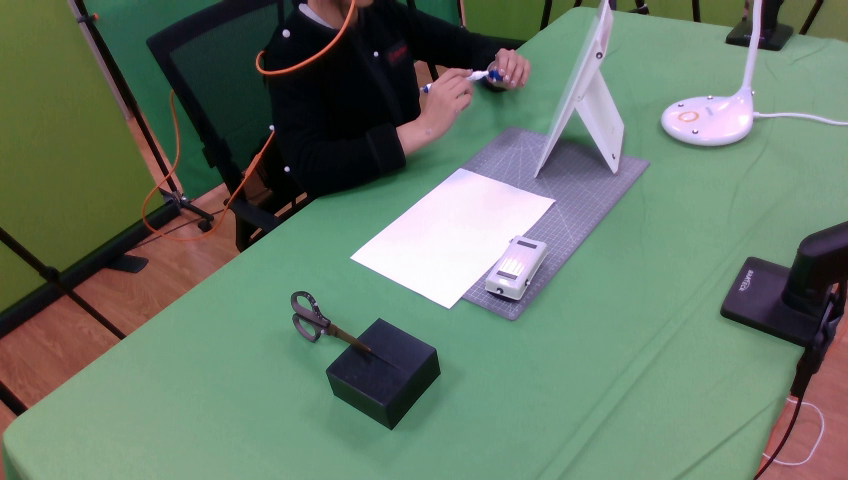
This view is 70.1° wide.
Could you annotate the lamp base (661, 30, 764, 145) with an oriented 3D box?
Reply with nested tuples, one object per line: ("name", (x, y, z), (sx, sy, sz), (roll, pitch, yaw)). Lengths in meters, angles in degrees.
("lamp base", (0.535, -0.287, 1.096), (0.179, 0.181, 0.159), (-10, 40, -4))

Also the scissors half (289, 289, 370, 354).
("scissors half", (-0.128, 0.110, 0.809), (0.013, 0.040, 0.173), (-17, 36, -43))

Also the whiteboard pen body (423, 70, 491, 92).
("whiteboard pen body", (0.065, -0.306, 1.153), (0.141, 0.017, 0.017), (-18, 41, -12))

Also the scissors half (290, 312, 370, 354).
("scissors half", (-0.128, 0.129, 0.816), (0.013, 0.040, 0.173), (-23, 22, -40))

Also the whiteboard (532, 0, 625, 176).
("whiteboard", (0.320, -0.259, 1.050), (0.144, 0.306, 0.217), (21, 45, 5))

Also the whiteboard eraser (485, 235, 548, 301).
("whiteboard eraser", (0.137, 0.042, 0.887), (0.055, 0.042, 0.113), (15, 46, 27))

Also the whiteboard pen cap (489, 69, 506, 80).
("whiteboard pen cap", (0.143, -0.324, 1.180), (0.033, 0.018, 0.018), (2, 27, -42))
